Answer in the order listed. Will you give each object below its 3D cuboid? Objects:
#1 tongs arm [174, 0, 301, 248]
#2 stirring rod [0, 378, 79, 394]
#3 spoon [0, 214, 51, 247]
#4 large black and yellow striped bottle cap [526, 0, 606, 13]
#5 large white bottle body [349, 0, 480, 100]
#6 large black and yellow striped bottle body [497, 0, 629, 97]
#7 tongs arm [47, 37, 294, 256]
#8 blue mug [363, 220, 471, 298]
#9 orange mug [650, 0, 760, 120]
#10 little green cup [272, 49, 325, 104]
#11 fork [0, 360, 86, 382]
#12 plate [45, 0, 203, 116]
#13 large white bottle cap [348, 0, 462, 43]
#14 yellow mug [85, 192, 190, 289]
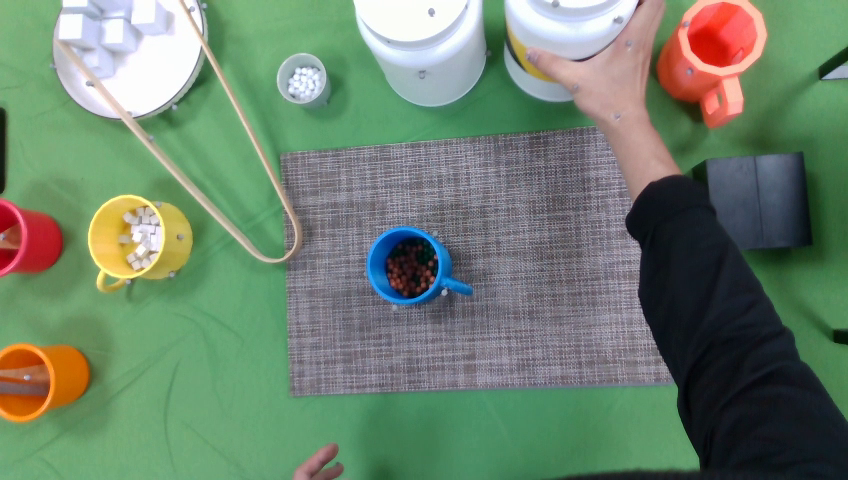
[{"bbox_3d":[-0.241,-0.168,0.740,0.028,0.028,0.387,-28,91,-4],"label":"tongs arm"},{"bbox_3d":[-0.509,0.171,0.718,0.006,0.177,0.014,-17,65,49],"label":"stirring rod"},{"bbox_3d":[-0.558,0.010,0.732,0.194,0.021,0.041,-24,81,-39],"label":"spoon"},{"bbox_3d":[0.129,-0.260,0.543,0.115,0.019,0.114,-1,80,5],"label":"large black and yellow striped bottle cap"},{"bbox_3d":[-0.006,-0.240,0.657,0.130,0.185,0.130,0,87,7],"label":"large white bottle body"},{"bbox_3d":[0.141,-0.243,0.625,0.130,0.185,0.130,-1,79,7],"label":"large black and yellow striped bottle body"},{"bbox_3d":[-0.309,-0.117,0.742,0.051,0.026,0.385,-42,90,-1],"label":"tongs arm"},{"bbox_3d":[-0.002,0.030,0.680,0.116,0.106,0.082,22,90,8],"label":"blue mug"},{"bbox_3d":[0.307,-0.198,0.661,0.083,0.101,0.125,-13,81,7],"label":"orange mug"},{"bbox_3d":[-0.151,-0.198,0.746,0.061,0.039,0.061,0,88,7],"label":"little green cup"},{"bbox_3d":[-0.518,0.153,0.716,0.209,0.018,0.028,11,87,-36],"label":"fork"},{"bbox_3d":[-0.378,-0.258,0.776,0.207,0.039,0.207,0,88,7],"label":"plate"},{"bbox_3d":[-0.018,-0.245,0.573,0.114,0.018,0.114,0,87,7],"label":"large white bottle cap"},{"bbox_3d":[-0.360,0.007,0.747,0.099,0.064,0.131,35,93,7],"label":"yellow mug"}]
